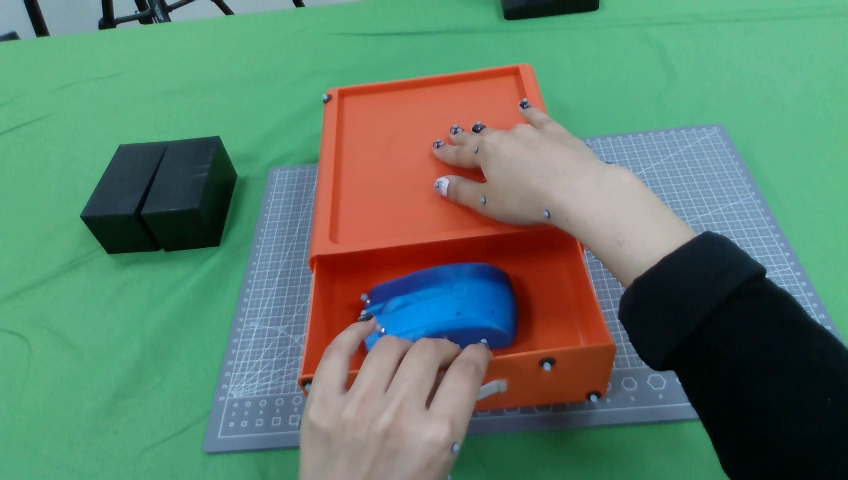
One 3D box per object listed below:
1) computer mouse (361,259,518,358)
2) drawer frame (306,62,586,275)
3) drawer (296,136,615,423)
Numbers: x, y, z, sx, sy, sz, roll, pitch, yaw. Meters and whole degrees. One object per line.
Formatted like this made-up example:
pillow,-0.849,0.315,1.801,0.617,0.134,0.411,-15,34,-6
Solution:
computer mouse,0.010,0.050,0.446,0.117,0.041,0.062,-9,50,8
drawer frame,0.012,-0.050,0.517,0.201,0.083,0.211,-8,47,2
drawer,0.017,0.020,0.452,0.194,0.074,0.209,-7,48,3
